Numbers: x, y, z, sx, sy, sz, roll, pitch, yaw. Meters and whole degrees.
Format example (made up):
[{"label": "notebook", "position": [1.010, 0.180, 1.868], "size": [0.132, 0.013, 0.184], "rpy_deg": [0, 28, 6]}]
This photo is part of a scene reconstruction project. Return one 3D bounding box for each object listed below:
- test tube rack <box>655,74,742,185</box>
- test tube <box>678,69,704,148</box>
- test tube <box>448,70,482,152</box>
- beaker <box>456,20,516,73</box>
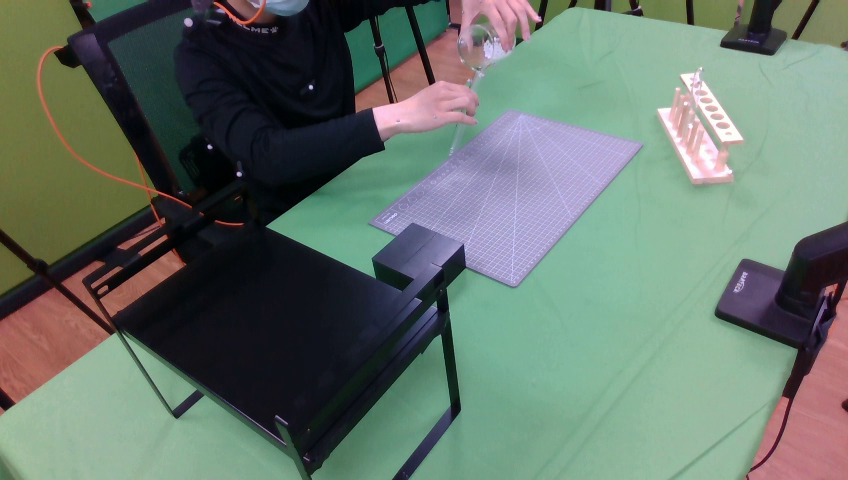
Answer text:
[{"label": "test tube rack", "position": [0.488, -0.205, 1.093], "size": [0.067, 0.085, 0.241], "rpy_deg": [-3, 41, 5]}, {"label": "test tube", "position": [0.465, -0.228, 1.054], "size": [0.017, 0.151, 0.017], "rpy_deg": [-4, 41, 4]}, {"label": "test tube", "position": [0.073, -0.230, 1.084], "size": [0.017, 0.150, 0.017], "rpy_deg": [19, 11, -3]}, {"label": "beaker", "position": [0.116, -0.352, 1.091], "size": [0.073, 0.084, 0.100], "rpy_deg": [2, 25, 36]}]
